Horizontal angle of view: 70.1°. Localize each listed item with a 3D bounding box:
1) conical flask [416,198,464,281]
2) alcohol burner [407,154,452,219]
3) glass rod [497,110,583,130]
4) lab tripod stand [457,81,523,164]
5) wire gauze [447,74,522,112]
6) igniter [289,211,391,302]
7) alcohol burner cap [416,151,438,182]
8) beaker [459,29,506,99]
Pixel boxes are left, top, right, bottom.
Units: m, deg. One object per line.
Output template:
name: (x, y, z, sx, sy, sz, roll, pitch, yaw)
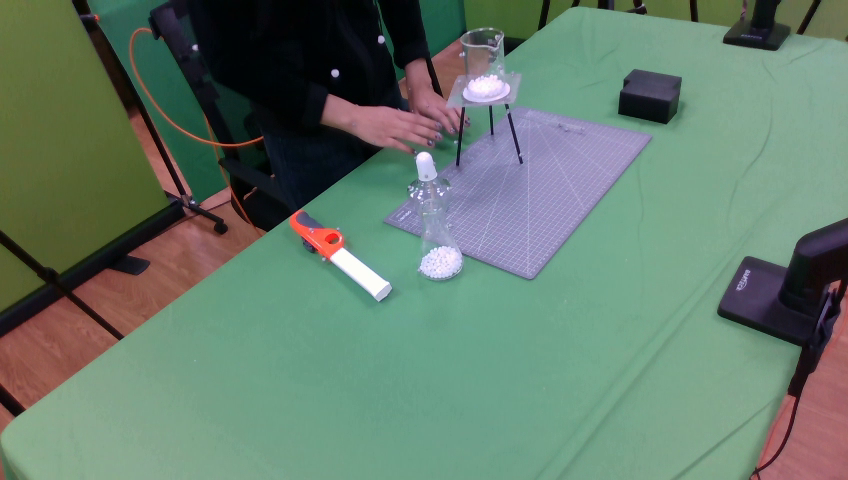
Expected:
conical flask: (0.019, -0.004, 0.907, 0.075, 0.122, 0.075, -5, 40, 5)
alcohol burner: (0.008, -0.096, 1.020, 0.078, 0.119, 0.077, -4, 40, 4)
glass rod: (0.233, -0.245, 1.235, 0.198, 0.008, 0.008, 20, 49, 35)
lab tripod stand: (0.120, -0.219, 1.130, 0.148, 0.132, 0.147, -7, 39, 6)
wire gauze: (0.110, -0.268, 1.087, 0.121, 0.011, 0.125, 1, 43, 15)
igniter: (-0.146, 0.019, 0.985, 0.057, 0.025, 0.274, -40, 48, -18)
alcohol burner cap: (0.003, -0.123, 0.996, 0.034, 0.048, 0.033, -10, 37, 8)
beaker: (0.107, -0.305, 1.056, 0.074, 0.101, 0.083, -27, 43, -18)
